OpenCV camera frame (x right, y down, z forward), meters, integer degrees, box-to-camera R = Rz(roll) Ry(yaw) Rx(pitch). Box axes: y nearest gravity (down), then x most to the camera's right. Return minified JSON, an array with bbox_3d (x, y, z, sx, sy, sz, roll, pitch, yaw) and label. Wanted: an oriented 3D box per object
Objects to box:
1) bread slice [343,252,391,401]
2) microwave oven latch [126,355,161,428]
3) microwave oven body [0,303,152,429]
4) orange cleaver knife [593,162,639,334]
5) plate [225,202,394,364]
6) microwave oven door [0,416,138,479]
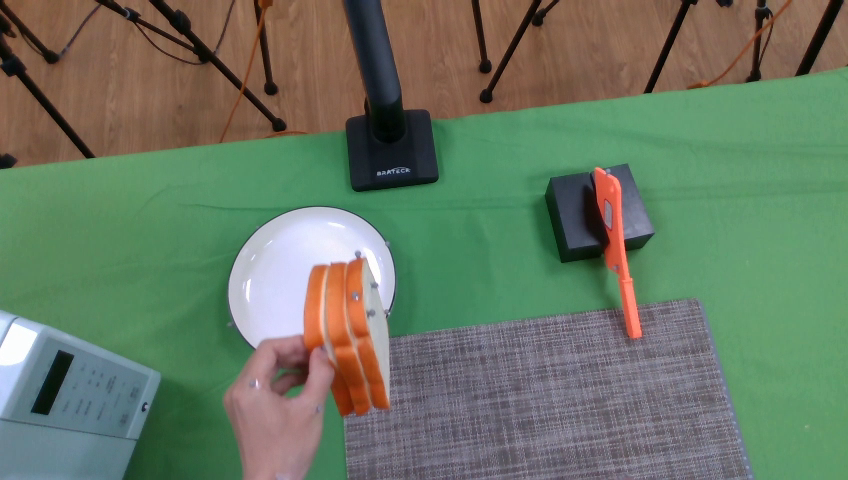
[{"bbox_3d":[-0.054,0.080,0.588,0.018,0.135,0.106,-10,45,2],"label":"bread slice"},{"bbox_3d":[-0.330,0.173,0.694,0.030,0.030,0.079,15,71,6],"label":"microwave oven latch"},{"bbox_3d":[-0.518,0.267,0.558,0.326,0.262,0.439,13,71,5],"label":"microwave oven body"},{"bbox_3d":[0.232,0.009,0.740,0.012,0.077,0.212,-12,99,-4],"label":"orange cleaver knife"},{"bbox_3d":[-0.139,0.054,0.756,0.208,0.039,0.206,0,69,0],"label":"plate"},{"bbox_3d":[-0.387,0.334,0.525,0.039,0.245,0.354,12,70,6],"label":"microwave oven door"}]
